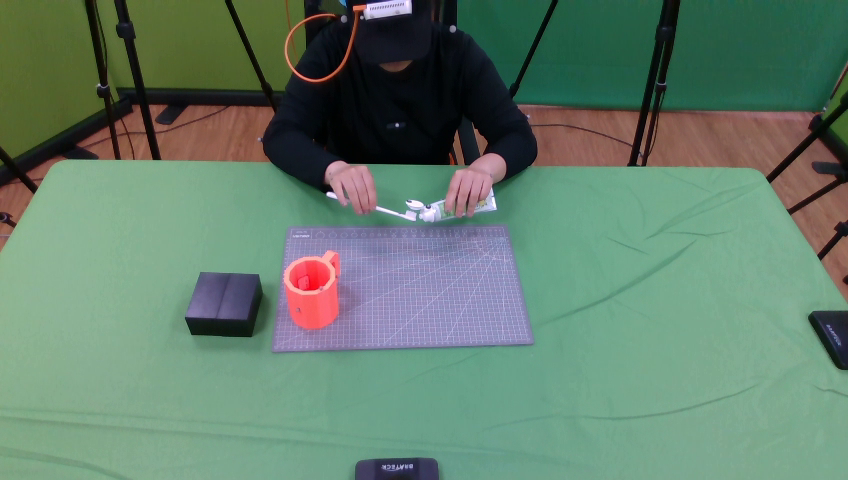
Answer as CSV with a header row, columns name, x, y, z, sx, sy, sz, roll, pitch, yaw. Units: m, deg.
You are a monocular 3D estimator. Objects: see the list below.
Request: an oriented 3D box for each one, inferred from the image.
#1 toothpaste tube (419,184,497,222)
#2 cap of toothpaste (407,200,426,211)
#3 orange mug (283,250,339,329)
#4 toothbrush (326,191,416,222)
name,x,y,z,sx,sy,sz,roll,pitch,yaw
toothpaste tube,0.065,-0.068,1.184,0.165,0.055,0.034,-14,12,-21
cap of toothpaste,-0.016,-0.064,1.142,0.037,0.011,0.037,12,25,-6
orange mug,-0.186,0.079,1.052,0.083,0.101,0.126,20,52,15
toothbrush,-0.101,-0.067,1.165,0.182,0.017,0.014,16,23,5
